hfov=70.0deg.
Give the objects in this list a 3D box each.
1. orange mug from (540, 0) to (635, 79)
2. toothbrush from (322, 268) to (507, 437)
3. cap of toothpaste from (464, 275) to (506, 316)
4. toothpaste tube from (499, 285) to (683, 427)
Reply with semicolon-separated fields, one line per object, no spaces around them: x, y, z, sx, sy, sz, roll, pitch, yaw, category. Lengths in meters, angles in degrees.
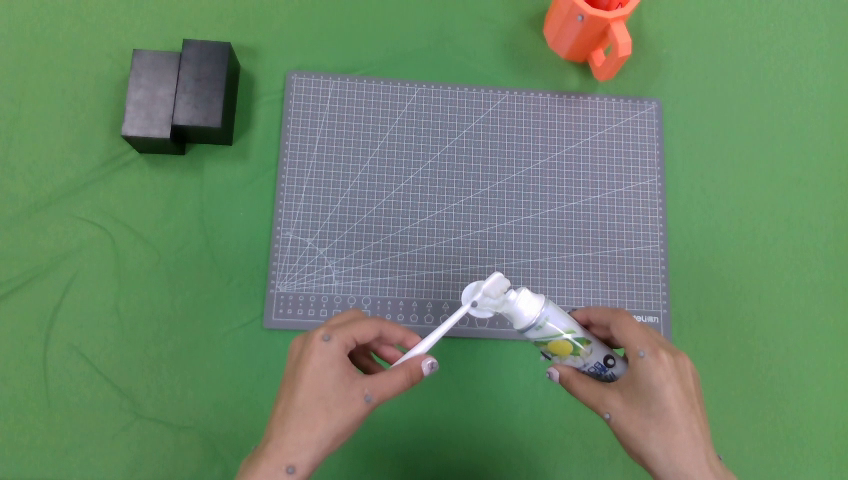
0.196;-0.257;0.704;0.083;0.101;0.125;-18;76;-8;orange mug
-0.004;0.084;0.457;0.182;0.016;0.015;-41;128;-12;toothbrush
0.050;0.043;0.488;0.037;0.011;0.037;-1;60;2;cap of toothpaste
0.125;0.092;0.479;0.165;0.055;0.034;39;43;-7;toothpaste tube
